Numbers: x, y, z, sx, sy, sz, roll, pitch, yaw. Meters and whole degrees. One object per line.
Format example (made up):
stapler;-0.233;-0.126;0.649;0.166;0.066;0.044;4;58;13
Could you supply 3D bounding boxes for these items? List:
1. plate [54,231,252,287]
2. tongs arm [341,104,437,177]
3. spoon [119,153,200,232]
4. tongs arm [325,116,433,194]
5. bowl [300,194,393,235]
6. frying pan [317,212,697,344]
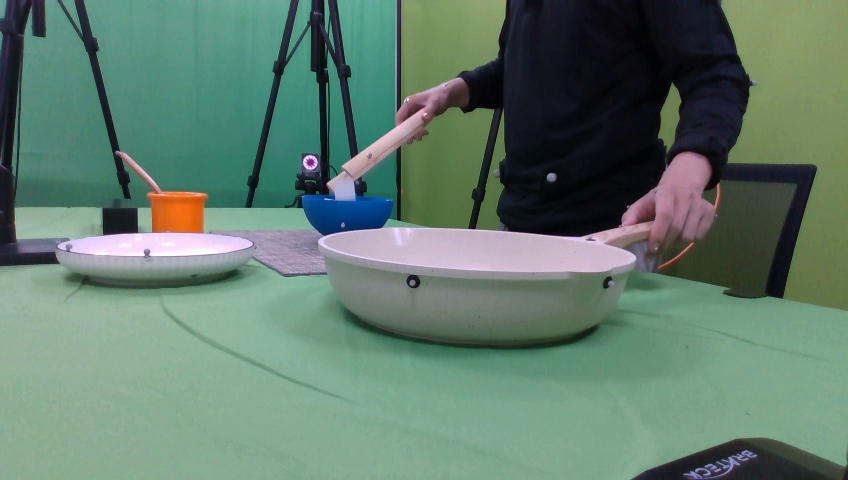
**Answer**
plate;-0.309;0.020;0.705;0.208;0.039;0.207;2;7;0
tongs arm;-0.052;-0.193;1.120;0.028;0.028;0.388;-44;4;35
spoon;-0.439;-0.077;1.000;0.021;0.193;0.042;-43;-7;22
tongs arm;-0.072;-0.178;1.139;0.050;0.026;0.385;-40;6;33
bowl;-0.128;-0.034;0.995;0.151;0.077;0.151;2;7;0
frying pan;0.133;0.013;0.630;0.490;0.102;0.305;-12;14;-31
